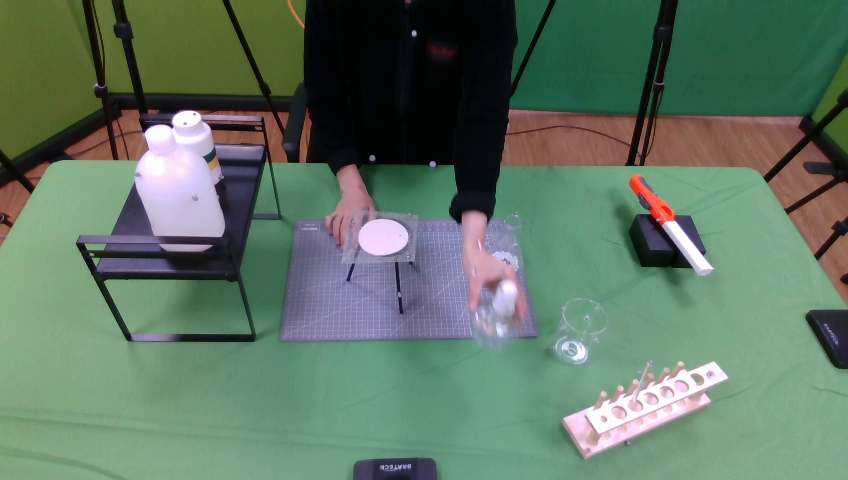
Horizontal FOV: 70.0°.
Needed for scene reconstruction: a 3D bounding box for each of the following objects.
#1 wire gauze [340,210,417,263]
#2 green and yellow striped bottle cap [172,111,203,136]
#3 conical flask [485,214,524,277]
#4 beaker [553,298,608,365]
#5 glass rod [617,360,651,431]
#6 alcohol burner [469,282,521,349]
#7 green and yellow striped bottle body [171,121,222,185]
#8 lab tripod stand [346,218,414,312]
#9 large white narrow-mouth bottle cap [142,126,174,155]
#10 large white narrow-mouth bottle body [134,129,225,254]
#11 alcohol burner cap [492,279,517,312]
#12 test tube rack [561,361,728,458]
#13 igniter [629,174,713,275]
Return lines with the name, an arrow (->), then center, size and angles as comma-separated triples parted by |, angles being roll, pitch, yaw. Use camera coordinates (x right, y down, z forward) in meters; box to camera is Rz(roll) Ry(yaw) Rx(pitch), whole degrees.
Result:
wire gauze -> -0.074, -0.006, 1.023 | 0.121, 0.011, 0.124 | 3, 46, 0
green and yellow striped bottle cap -> -0.374, -0.185, 0.958 | 0.045, 0.020, 0.045 | 4, 45, -3
conical flask -> 0.157, 0.007, 1.129 | 0.075, 0.122, 0.075 | 2, 46, -2
beaker -> 0.260, 0.154, 1.014 | 0.073, 0.101, 0.084 | 37, 54, 27
glass rod -> 0.297, 0.227, 0.865 | 0.008, 0.201, 0.008 | -1, 48, 2
alcohol burner -> 0.109, 0.104, 0.889 | 0.078, 0.119, 0.077 | 9, 41, -8
green and yellow striped bottle body -> -0.375, -0.149, 0.995 | 0.063, 0.120, 0.063 | 2, 46, -2
lab tripod stand -> -0.070, 0.038, 1.075 | 0.148, 0.132, 0.147 | 1, 48, -1
large white narrow-mouth bottle cap -> -0.356, -0.133, 0.811 | 0.038, 0.024, 0.037 | 2, 47, -1
large white narrow-mouth bottle body -> -0.358, -0.075, 0.875 | 0.102, 0.195, 0.101 | 1, 47, -1
alcohol burner cap -> 0.117, 0.077, 0.865 | 0.034, 0.048, 0.033 | 4, 42, -3
test tube rack -> 0.341, 0.248, 0.940 | 0.243, 0.085, 0.066 | -15, 49, -18
igniter -> 0.481, -0.039, 1.202 | 0.057, 0.025, 0.274 | -2, 46, -21
